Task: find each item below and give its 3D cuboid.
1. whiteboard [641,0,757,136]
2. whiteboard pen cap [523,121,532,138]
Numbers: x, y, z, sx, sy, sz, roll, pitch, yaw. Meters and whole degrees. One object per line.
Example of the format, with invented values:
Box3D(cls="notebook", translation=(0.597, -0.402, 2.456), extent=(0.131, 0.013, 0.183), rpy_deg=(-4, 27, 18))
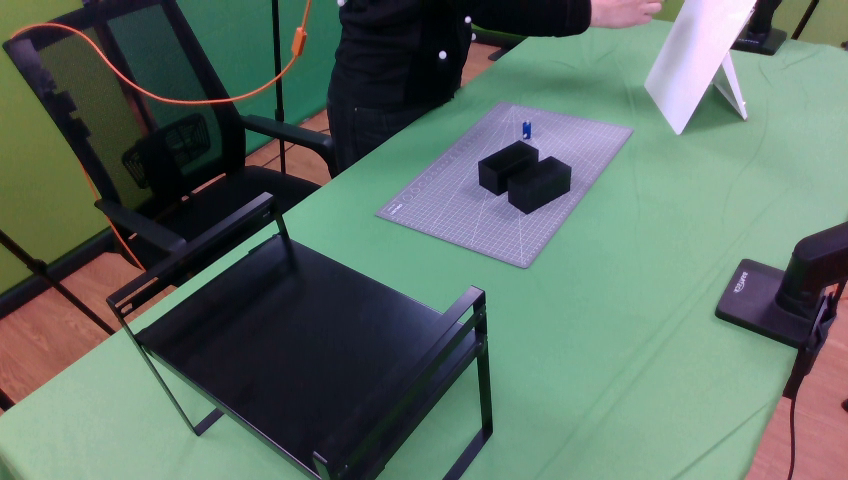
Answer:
Box3D(cls="whiteboard", translation=(0.576, -0.367, 1.147), extent=(0.144, 0.305, 0.216), rpy_deg=(10, 39, -9))
Box3D(cls="whiteboard pen cap", translation=(0.204, -0.216, 1.186), extent=(0.018, 0.033, 0.018), rpy_deg=(-7, 41, 6))
